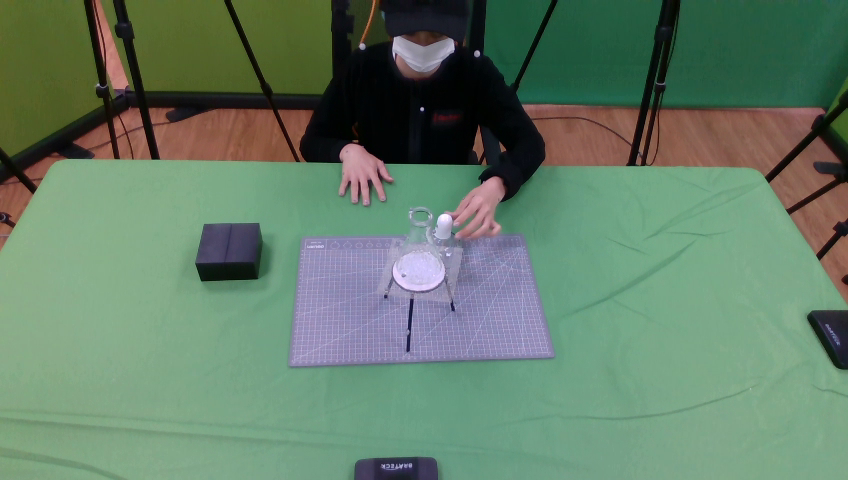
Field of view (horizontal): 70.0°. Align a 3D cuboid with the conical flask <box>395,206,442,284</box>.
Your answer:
[{"bbox_3d":[-0.007,0.005,0.937,0.075,0.122,0.075,2,45,-1],"label":"conical flask"}]

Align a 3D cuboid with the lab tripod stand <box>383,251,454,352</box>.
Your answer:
[{"bbox_3d":[-0.015,0.094,1.025,0.148,0.132,0.147,1,46,-1],"label":"lab tripod stand"}]

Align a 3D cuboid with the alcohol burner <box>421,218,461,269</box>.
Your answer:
[{"bbox_3d":[0.033,-0.001,1.135,0.078,0.119,0.077,2,48,-2],"label":"alcohol burner"}]

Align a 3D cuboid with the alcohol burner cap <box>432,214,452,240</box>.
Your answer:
[{"bbox_3d":[0.034,-0.027,1.110,0.034,0.048,0.033,7,43,-6],"label":"alcohol burner cap"}]

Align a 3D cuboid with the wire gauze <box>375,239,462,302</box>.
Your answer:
[{"bbox_3d":[-0.006,0.049,0.977,0.121,0.011,0.124,10,44,5],"label":"wire gauze"}]
